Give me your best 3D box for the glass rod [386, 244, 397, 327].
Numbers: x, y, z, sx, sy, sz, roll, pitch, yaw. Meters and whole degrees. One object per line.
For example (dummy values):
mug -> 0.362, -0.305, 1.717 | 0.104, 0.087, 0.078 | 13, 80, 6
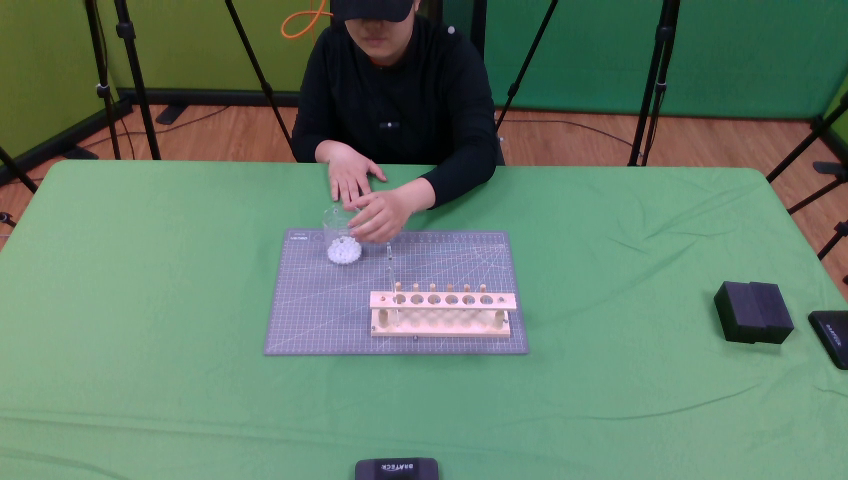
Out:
glass rod -> -0.052, 0.078, 0.979 | 0.008, 0.201, 0.008 | -1, 45, 1

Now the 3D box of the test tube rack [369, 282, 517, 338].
test tube rack -> 0.030, 0.116, 1.041 | 0.242, 0.085, 0.066 | 1, 46, -3

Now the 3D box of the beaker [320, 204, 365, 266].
beaker -> -0.151, -0.008, 1.137 | 0.084, 0.101, 0.073 | -13, 49, -16
